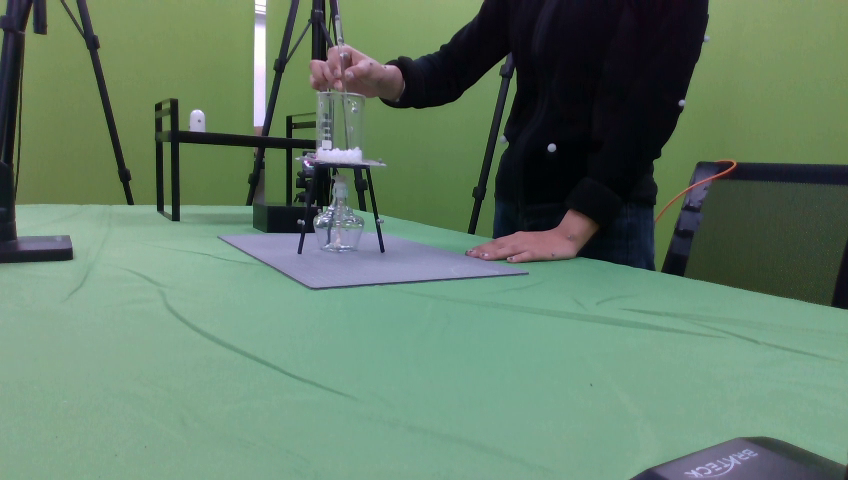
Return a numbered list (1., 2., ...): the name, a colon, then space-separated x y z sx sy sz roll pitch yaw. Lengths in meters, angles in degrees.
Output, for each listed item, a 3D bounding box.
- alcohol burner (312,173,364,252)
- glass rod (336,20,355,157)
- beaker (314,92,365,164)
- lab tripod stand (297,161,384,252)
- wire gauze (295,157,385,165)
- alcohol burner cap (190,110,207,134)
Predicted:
1. alcohol burner: -0.129 -0.042 0.910 0.078 0.119 0.078 5 8 0
2. glass rod: -0.116 -0.223 0.894 0.008 0.199 0.008 -6 4 1
3. beaker: -0.123 -0.163 0.893 0.073 0.100 0.084 8 9 31
4. lab tripod stand: -0.130 -0.051 0.903 0.148 0.131 0.148 3 9 0
5. wire gauze: -0.128 -0.117 0.900 0.125 0.011 0.121 -1 7 -14
6. alcohol burner cap: -0.463 -0.242 1.240 0.034 0.048 0.034 2 7 0
